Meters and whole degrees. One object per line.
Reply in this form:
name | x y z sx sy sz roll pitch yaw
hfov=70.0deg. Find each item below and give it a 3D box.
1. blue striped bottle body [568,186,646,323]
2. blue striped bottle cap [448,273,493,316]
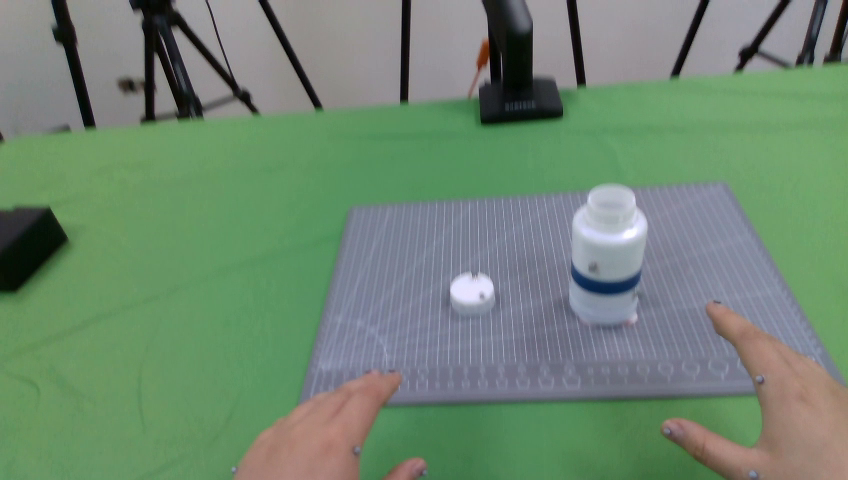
blue striped bottle body | 0.163 0.012 0.543 0.063 0.122 0.062 -5 38 4
blue striped bottle cap | 0.046 0.054 0.598 0.044 0.021 0.044 -4 37 3
